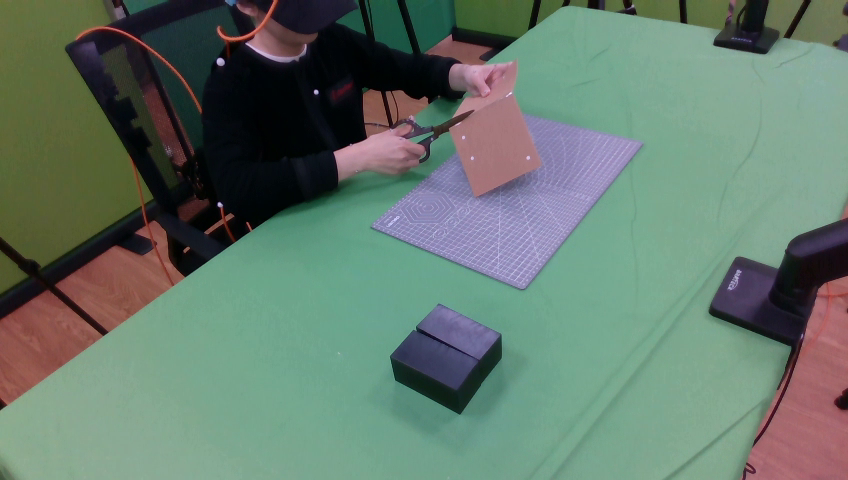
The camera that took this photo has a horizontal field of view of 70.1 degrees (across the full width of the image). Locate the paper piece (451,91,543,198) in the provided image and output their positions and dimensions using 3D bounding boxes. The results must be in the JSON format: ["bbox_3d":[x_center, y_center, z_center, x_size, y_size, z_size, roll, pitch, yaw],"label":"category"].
[{"bbox_3d":[0.120,-0.160,1.034,0.135,0.138,0.009,-25,-8,35],"label":"paper piece"}]

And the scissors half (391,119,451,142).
[{"bbox_3d":[0.019,-0.204,1.088,0.174,0.040,0.013,-2,28,23],"label":"scissors half"}]

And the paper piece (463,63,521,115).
[{"bbox_3d":[0.116,-0.259,1.096,0.135,0.004,0.135,-32,23,35],"label":"paper piece"}]

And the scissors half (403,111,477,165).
[{"bbox_3d":[0.029,-0.185,1.096,0.174,0.040,0.013,-33,18,34],"label":"scissors half"}]
